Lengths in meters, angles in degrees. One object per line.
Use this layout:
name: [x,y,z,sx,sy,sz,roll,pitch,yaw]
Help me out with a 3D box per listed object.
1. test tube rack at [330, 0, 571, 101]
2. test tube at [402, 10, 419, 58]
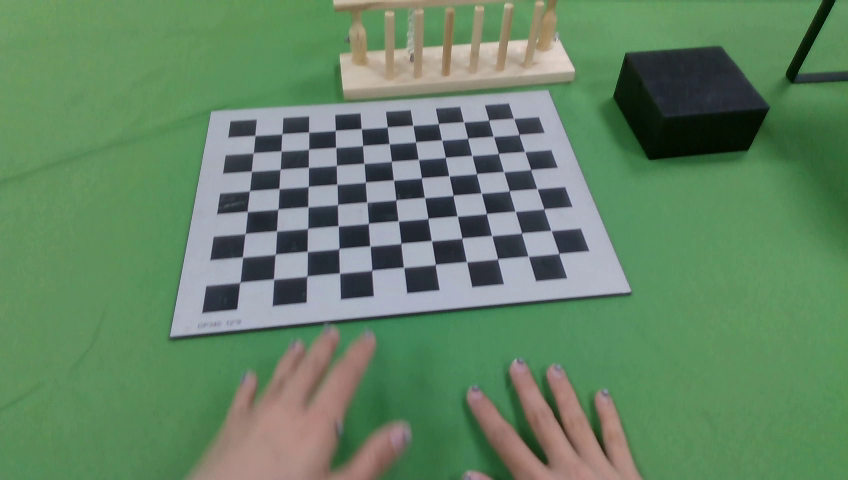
test tube rack: [0.030,-0.206,0.621,0.243,0.086,0.066,-6,49,-6]
test tube: [-0.011,-0.249,0.591,0.017,0.151,0.017,3,45,-3]
